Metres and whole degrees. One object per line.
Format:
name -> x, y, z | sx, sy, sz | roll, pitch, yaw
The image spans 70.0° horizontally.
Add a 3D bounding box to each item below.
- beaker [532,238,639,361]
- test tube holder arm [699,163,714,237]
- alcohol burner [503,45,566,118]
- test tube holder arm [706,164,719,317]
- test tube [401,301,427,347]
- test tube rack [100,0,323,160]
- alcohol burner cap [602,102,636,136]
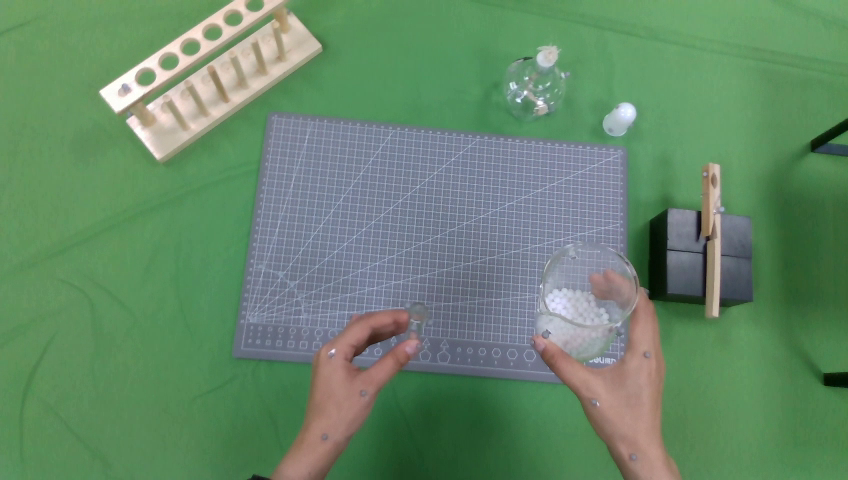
beaker -> 0.127, 0.056, 0.508 | 0.084, 0.101, 0.073 | -25, 63, -9
test tube holder arm -> 0.326, -0.046, 0.700 | 0.010, 0.015, 0.087 | 7, 77, -10
alcohol burner -> 0.136, -0.194, 0.721 | 0.078, 0.119, 0.077 | 1, 75, -5
test tube holder arm -> 0.328, -0.002, 0.691 | 0.013, 0.015, 0.177 | 6, 78, -11
test tube -> -0.010, 0.077, 0.538 | 0.017, 0.151, 0.017 | 1, 72, -4
test tube rack -> -0.238, -0.203, 0.707 | 0.242, 0.085, 0.066 | -39, 82, -12
alcohol burner cap -> 0.246, -0.153, 0.757 | 0.034, 0.048, 0.033 | 1, 76, -4
